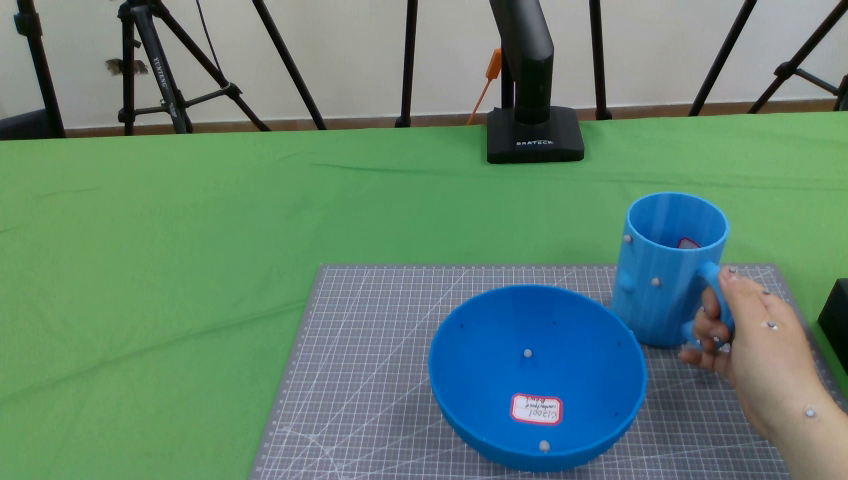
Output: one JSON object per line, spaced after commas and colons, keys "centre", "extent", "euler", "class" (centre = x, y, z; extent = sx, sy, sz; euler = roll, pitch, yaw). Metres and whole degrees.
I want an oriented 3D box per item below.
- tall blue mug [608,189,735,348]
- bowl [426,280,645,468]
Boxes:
{"centre": [0.212, 0.029, 0.501], "extent": [0.106, 0.109, 0.078], "euler": [28, 50, 33], "class": "tall blue mug"}
{"centre": [0.079, 0.109, 0.447], "extent": [0.151, 0.077, 0.150], "euler": [-3, 40, 3], "class": "bowl"}
